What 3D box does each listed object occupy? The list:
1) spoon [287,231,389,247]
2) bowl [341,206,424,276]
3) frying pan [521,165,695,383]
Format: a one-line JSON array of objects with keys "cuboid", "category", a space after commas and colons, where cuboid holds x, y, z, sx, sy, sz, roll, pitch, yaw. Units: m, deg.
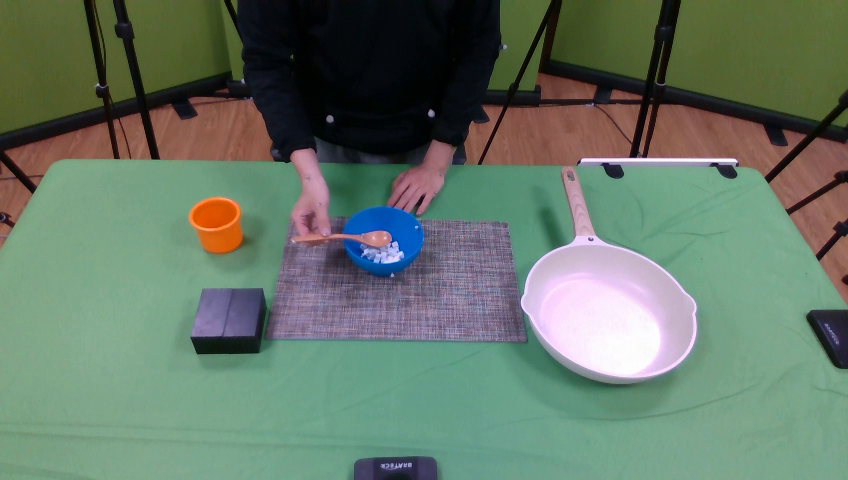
[{"cuboid": [-0.150, -0.004, 1.081, 0.194, 0.022, 0.041, 3, 44, -34], "category": "spoon"}, {"cuboid": [-0.079, 0.014, 1.133, 0.151, 0.077, 0.150, 2, 46, -2], "category": "bowl"}, {"cuboid": [0.312, 0.044, 1.123, 0.307, 0.103, 0.484, 1, 55, -5], "category": "frying pan"}]
